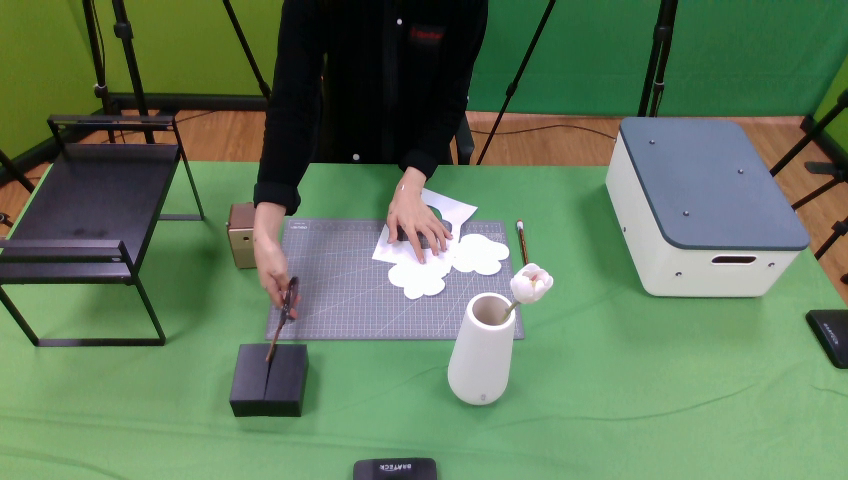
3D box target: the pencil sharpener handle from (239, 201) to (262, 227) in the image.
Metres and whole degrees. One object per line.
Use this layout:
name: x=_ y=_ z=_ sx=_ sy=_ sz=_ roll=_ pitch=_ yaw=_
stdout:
pencil sharpener handle: x=-0.325 y=-0.055 z=1.150 sx=0.036 sy=0.068 sz=0.030 roll=-13 pitch=46 yaw=3

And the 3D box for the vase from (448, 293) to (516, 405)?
vase: x=0.091 y=0.169 z=0.921 sx=0.098 sy=0.201 sz=0.097 roll=3 pitch=47 yaw=-3

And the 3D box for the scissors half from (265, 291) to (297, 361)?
scissors half: x=-0.238 y=0.141 z=1.007 sx=0.013 sy=0.040 sz=0.174 roll=15 pitch=30 yaw=-4

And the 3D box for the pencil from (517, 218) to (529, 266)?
pencil: x=0.200 y=0.027 z=1.196 sx=0.012 sy=0.012 sz=0.193 roll=1 pitch=48 yaw=-3

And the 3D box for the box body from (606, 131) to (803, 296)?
box body: x=0.530 y=-0.067 z=1.204 sx=0.254 sy=0.161 sz=0.361 roll=0 pitch=46 yaw=-4

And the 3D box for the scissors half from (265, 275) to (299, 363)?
scissors half: x=-0.234 y=0.126 z=0.994 sx=0.013 sy=0.040 sz=0.174 roll=11 pitch=49 yaw=-1

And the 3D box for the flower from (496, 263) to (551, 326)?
flower: x=0.102 y=0.120 z=0.853 sx=0.044 sy=0.363 sz=0.038 roll=-1 pitch=64 yaw=-10

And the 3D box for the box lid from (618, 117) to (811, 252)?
box lid: x=0.534 y=-0.117 z=1.148 sx=0.263 sy=0.015 sz=0.369 roll=0 pitch=47 yaw=-3

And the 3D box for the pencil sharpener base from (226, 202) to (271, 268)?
pencil sharpener base: x=-0.323 y=-0.010 z=1.123 sx=0.061 sy=0.107 sz=0.076 roll=-3 pitch=46 yaw=-7
